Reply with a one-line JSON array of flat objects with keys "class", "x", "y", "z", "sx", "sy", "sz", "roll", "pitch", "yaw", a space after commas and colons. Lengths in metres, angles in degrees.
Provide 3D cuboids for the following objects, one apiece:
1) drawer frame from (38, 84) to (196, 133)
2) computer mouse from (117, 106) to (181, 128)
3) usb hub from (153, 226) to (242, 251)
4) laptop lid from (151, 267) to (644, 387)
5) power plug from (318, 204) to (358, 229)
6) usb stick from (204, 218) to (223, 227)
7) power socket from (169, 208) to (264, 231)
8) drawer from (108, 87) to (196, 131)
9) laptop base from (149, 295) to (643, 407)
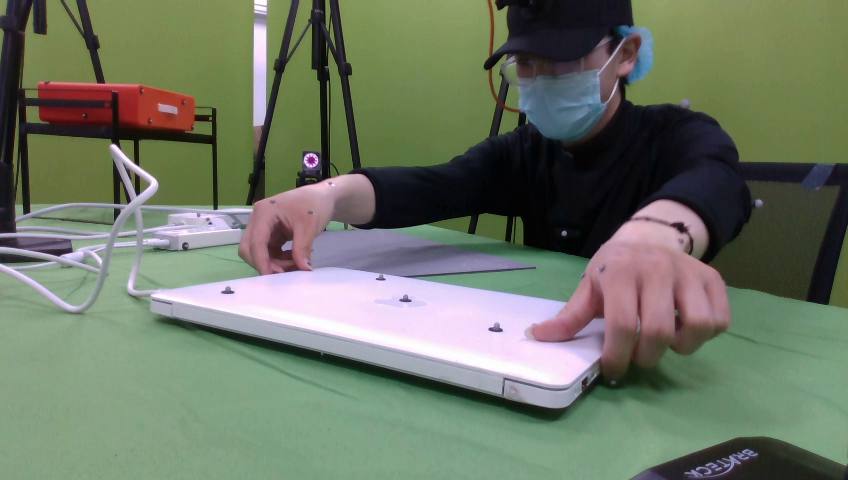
[{"class": "drawer frame", "x": -0.612, "y": -0.265, "z": 1.229, "sx": 0.213, "sy": 0.082, "sz": 0.202, "roll": 3, "pitch": 8, "yaw": 7}, {"class": "computer mouse", "x": -0.566, "y": -0.252, "z": 1.242, "sx": 0.062, "sy": 0.041, "sz": 0.118, "roll": 18, "pitch": 27, "yaw": 42}, {"class": "usb hub", "x": -0.337, "y": -0.003, "z": 0.907, "sx": 0.049, "sy": 0.025, "sz": 0.125, "roll": 6, "pitch": 9, "yaw": 28}, {"class": "laptop lid", "x": -0.018, "y": 0.054, "z": 0.507, "sx": 0.355, "sy": 0.013, "sz": 0.243, "roll": 7, "pitch": 6, "yaw": 31}, {"class": "power plug", "x": -0.169, "y": -0.044, "z": 1.207, "sx": 0.072, "sy": 0.052, "sz": 0.035, "roll": -10, "pitch": -12, "yaw": -1}, {"class": "usb stick", "x": -0.346, "y": -0.018, "z": 1.010, "sx": 0.027, "sy": 0.021, "sz": 0.059, "roll": 46, "pitch": -9, "yaw": 1}, {"class": "power socket", "x": -0.381, "y": -0.038, "z": 1.128, "sx": 0.072, "sy": 0.032, "sz": 0.227, "roll": 4, "pitch": 8, "yaw": 16}, {"class": "drawer", "x": -0.609, "y": -0.264, "z": 1.229, "sx": 0.211, "sy": 0.073, "sz": 0.194, "roll": 3, "pitch": 8, "yaw": 9}, {"class": "laptop base", "x": -0.019, "y": 0.067, "z": 0.506, "sx": 0.353, "sy": 0.023, "sz": 0.236, "roll": 6, "pitch": 5, "yaw": 30}]
